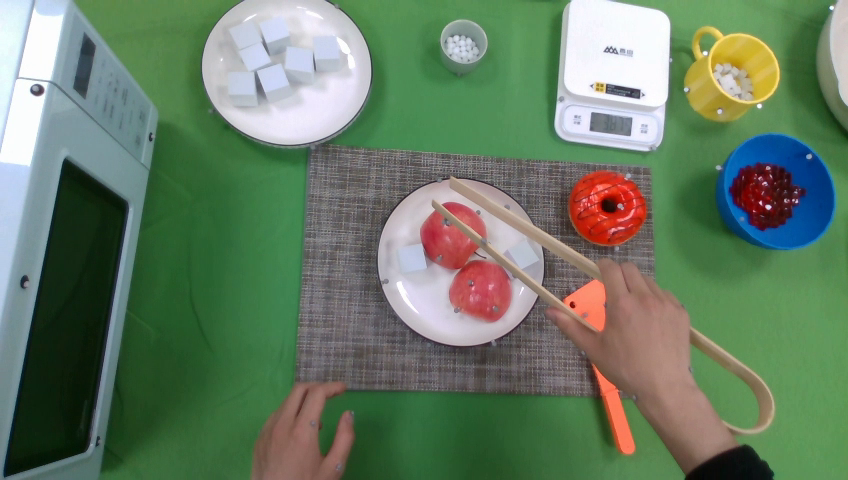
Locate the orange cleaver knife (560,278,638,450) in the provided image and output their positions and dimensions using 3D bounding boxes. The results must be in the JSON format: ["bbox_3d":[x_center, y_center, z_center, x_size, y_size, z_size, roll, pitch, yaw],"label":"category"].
[{"bbox_3d":[0.229,0.148,0.751,0.077,0.012,0.210,-15,81,-14],"label":"orange cleaver knife"}]

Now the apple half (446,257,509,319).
[{"bbox_3d":[0.068,0.055,0.733,0.081,0.033,0.081,1,82,-3],"label":"apple half"}]

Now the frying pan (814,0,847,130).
[{"bbox_3d":[0.725,-0.156,0.824,0.307,0.103,0.485,-24,75,-9],"label":"frying pan"}]

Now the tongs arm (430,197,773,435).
[{"bbox_3d":[0.163,0.064,0.605,0.382,0.027,0.050,41,72,14],"label":"tongs arm"}]

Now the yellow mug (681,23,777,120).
[{"bbox_3d":[0.403,-0.235,0.820,0.100,0.064,0.130,-30,83,-10],"label":"yellow mug"}]

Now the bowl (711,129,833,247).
[{"bbox_3d":[0.433,-0.059,0.786,0.151,0.077,0.151,1,80,-6],"label":"bowl"}]

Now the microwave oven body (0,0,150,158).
[{"bbox_3d":[-0.486,0.009,0.570,0.327,0.260,0.440,6,80,-6],"label":"microwave oven body"}]

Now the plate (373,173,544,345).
[{"bbox_3d":[0.041,0.024,0.742,0.209,0.038,0.208,1,80,-6],"label":"plate"}]

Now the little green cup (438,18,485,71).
[{"bbox_3d":[0.047,-0.255,0.797,0.061,0.039,0.061,1,79,-6],"label":"little green cup"}]

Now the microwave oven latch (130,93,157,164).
[{"bbox_3d":[-0.335,-0.132,0.711,0.030,0.029,0.079,7,80,-6],"label":"microwave oven latch"}]

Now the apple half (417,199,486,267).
[{"bbox_3d":[0.034,-0.013,0.732,0.081,0.053,0.074,-41,83,-12],"label":"apple half"}]

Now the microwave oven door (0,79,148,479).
[{"bbox_3d":[-0.344,0.063,0.572,0.039,0.244,0.354,5,79,-5],"label":"microwave oven door"}]

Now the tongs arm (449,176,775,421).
[{"bbox_3d":[0.177,0.048,0.612,0.385,0.028,0.028,36,67,13],"label":"tongs arm"}]

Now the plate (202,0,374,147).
[{"bbox_3d":[-0.168,-0.213,0.765,0.208,0.039,0.206,1,79,-6],"label":"plate"}]

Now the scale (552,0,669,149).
[{"bbox_3d":[0.253,-0.228,0.819,0.149,0.031,0.200,7,80,-5],"label":"scale"}]

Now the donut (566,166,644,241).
[{"bbox_3d":[0.229,-0.046,0.773,0.099,0.048,0.098,1,80,-4],"label":"donut"}]
